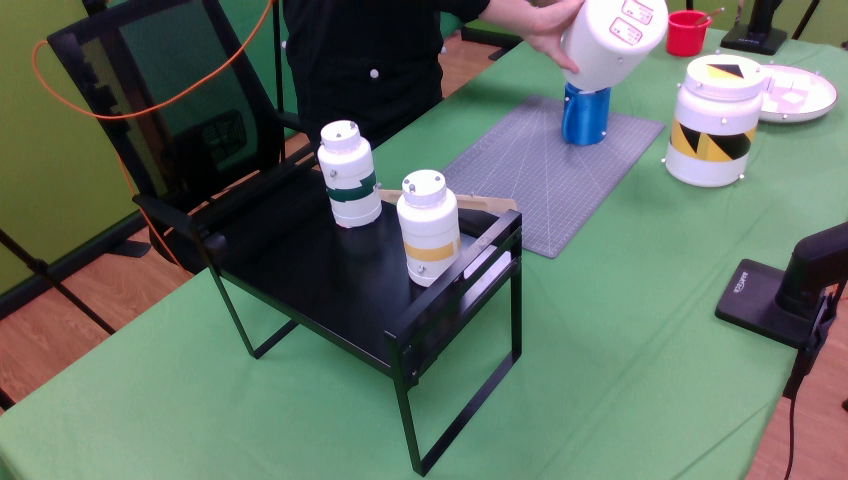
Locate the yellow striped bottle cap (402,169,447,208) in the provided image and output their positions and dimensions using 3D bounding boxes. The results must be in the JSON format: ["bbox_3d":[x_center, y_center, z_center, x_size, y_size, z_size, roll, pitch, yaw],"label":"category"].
[{"bbox_3d":[0.001,-0.052,0.604,0.044,0.019,0.044,-5,43,5],"label":"yellow striped bottle cap"}]

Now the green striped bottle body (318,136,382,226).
[{"bbox_3d":[-0.090,-0.081,0.733,0.063,0.120,0.063,-5,41,4],"label":"green striped bottle body"}]

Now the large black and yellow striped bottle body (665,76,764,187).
[{"bbox_3d":[0.482,-0.196,1.008,0.131,0.185,0.130,-4,41,4],"label":"large black and yellow striped bottle body"}]

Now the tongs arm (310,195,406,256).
[{"bbox_3d":[-0.078,-0.012,0.944,0.028,0.028,0.384,-43,39,-22],"label":"tongs arm"}]

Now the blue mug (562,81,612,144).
[{"bbox_3d":[0.298,-0.239,1.143,0.081,0.106,0.117,30,54,36],"label":"blue mug"}]

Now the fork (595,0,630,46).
[{"bbox_3d":[0.480,-0.556,1.453,0.028,0.019,0.207,41,103,40],"label":"fork"}]

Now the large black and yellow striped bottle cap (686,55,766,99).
[{"bbox_3d":[0.474,-0.258,0.952,0.115,0.019,0.114,-5,41,5],"label":"large black and yellow striped bottle cap"}]

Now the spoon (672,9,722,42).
[{"bbox_3d":[0.606,-0.476,1.345,0.042,0.021,0.193,-6,-3,-2],"label":"spoon"}]

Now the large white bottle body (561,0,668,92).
[{"bbox_3d":[0.306,-0.332,1.007,0.131,0.184,0.130,1,82,-3],"label":"large white bottle body"}]

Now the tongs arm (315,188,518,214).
[{"bbox_3d":[-0.028,-0.060,0.988,0.382,0.027,0.051,9,45,36],"label":"tongs arm"}]

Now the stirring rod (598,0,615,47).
[{"bbox_3d":[0.437,-0.551,1.462,0.014,0.006,0.175,-11,83,1],"label":"stirring rod"}]

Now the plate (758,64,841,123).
[{"bbox_3d":[0.695,-0.283,1.189,0.207,0.039,0.206,-4,40,4],"label":"plate"}]

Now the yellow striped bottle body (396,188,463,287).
[{"bbox_3d":[0.006,-0.013,0.638,0.063,0.121,0.062,-5,41,4],"label":"yellow striped bottle body"}]

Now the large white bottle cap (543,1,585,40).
[{"bbox_3d":[0.294,-0.435,1.203,0.114,0.115,0.018,0,78,9],"label":"large white bottle cap"}]

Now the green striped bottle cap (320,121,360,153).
[{"bbox_3d":[-0.097,-0.120,0.699,0.044,0.020,0.044,-4,39,3],"label":"green striped bottle cap"}]
